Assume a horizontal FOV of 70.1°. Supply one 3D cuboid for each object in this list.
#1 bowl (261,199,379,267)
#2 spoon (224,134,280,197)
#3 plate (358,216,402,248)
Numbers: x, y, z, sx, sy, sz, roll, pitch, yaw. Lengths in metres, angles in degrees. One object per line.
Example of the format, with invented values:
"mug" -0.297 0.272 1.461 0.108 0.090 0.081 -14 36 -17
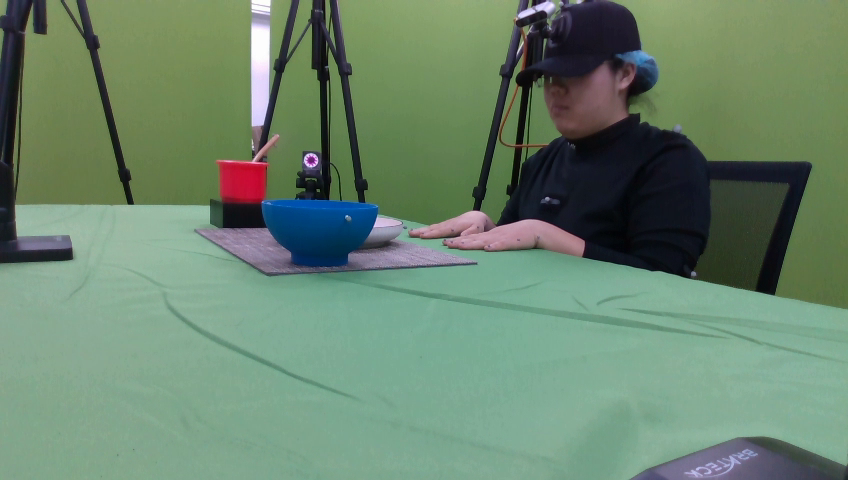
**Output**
"bowl" -0.135 -0.009 0.786 0.151 0.077 0.151 3 7 0
"spoon" -0.333 -0.150 1.192 0.041 0.022 0.194 6 52 24
"plate" -0.140 -0.015 0.993 0.208 0.039 0.207 3 8 0
